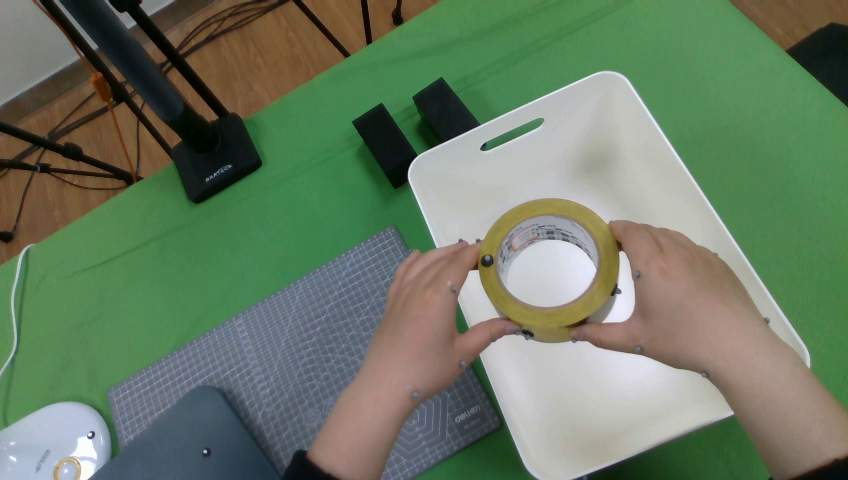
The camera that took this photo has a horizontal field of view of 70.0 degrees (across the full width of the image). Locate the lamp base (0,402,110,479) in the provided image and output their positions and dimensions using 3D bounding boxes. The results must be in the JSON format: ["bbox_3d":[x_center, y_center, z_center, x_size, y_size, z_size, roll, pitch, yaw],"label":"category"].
[{"bbox_3d":[-0.511,0.261,0.723,0.178,0.182,0.159,6,69,20],"label":"lamp base"}]

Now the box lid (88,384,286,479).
[{"bbox_3d":[-0.253,0.374,0.694,0.263,0.015,0.368,-42,67,-7],"label":"box lid"}]

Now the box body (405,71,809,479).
[{"bbox_3d":[0.166,0.040,0.647,0.254,0.162,0.360,-24,64,4],"label":"box body"}]

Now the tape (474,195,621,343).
[{"bbox_3d":[0.102,0.023,0.499,0.116,0.053,0.116,-5,67,13],"label":"tape"}]
